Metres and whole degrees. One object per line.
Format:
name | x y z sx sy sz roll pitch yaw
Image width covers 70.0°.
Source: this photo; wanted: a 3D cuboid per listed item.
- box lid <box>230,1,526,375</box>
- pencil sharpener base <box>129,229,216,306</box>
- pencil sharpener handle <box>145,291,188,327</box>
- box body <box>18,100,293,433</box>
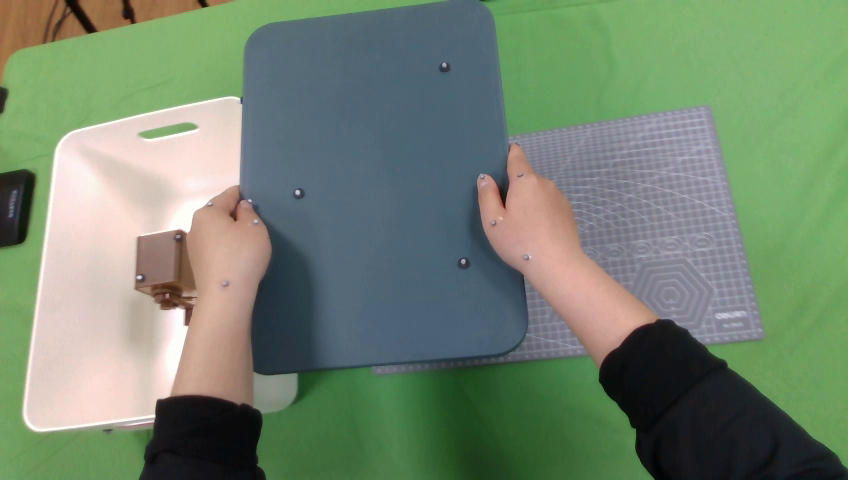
box lid | -0.052 -0.066 0.579 0.263 0.015 0.369 -6 71 4
pencil sharpener base | -0.315 0.042 0.768 0.061 0.108 0.076 -10 70 8
pencil sharpener handle | -0.311 0.085 0.739 0.036 0.068 0.030 -11 70 12
box body | -0.306 0.042 0.744 0.254 0.161 0.361 -10 70 7
